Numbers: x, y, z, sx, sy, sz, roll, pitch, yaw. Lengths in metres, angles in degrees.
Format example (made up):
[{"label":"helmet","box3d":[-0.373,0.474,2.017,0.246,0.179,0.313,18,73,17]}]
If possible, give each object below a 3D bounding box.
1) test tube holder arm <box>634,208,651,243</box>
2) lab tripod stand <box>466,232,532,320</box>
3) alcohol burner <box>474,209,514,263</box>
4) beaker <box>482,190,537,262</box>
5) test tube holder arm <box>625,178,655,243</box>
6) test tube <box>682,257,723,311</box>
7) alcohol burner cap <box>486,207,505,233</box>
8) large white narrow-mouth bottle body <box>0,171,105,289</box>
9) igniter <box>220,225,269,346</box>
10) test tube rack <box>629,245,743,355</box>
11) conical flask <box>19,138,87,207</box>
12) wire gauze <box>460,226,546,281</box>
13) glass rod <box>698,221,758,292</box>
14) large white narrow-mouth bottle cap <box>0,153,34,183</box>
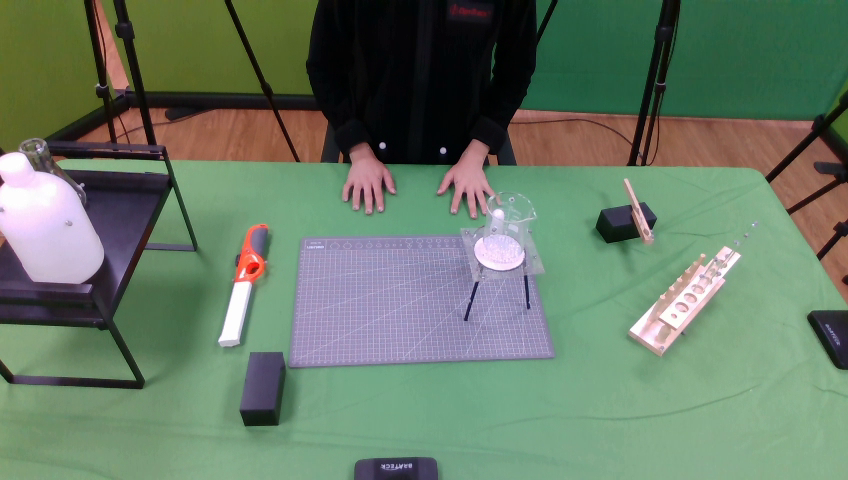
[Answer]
[{"label":"test tube holder arm","box3d":[0.428,-0.030,1.189,0.010,0.015,0.087,1,47,-2]},{"label":"lab tripod stand","box3d":[0.125,0.059,1.065,0.148,0.132,0.147,1,45,0]},{"label":"alcohol burner","box3d":[0.134,-0.013,1.150,0.078,0.120,0.077,0,47,0]},{"label":"beaker","box3d":[0.136,-0.019,0.983,0.084,0.101,0.073,17,47,14]},{"label":"test tube holder arm","box3d":[0.433,-0.062,1.220,0.013,0.015,0.177,1,47,-3]},{"label":"test tube","box3d":[0.475,0.080,1.037,0.017,0.151,0.017,1,50,-1]},{"label":"alcohol burner cap","box3d":[0.135,-0.039,1.125,0.034,0.048,0.033,5,41,-4]},{"label":"large white narrow-mouth bottle body","box3d":[-0.513,-0.029,0.818,0.102,0.195,0.101,2,46,-2]},{"label":"igniter","box3d":[-0.323,0.072,1.101,0.057,0.025,0.275,-6,46,5]},{"label":"test tube rack","box3d":[0.474,0.095,1.091,0.242,0.085,0.066,-34,56,-31]},{"label":"conical flask","box3d":[-0.576,-0.097,0.930,0.075,0.122,0.075,2,46,-2]},{"label":"wire gauze","box3d":[0.130,0.017,1.016,0.121,0.011,0.124,-4,43,-9]},{"label":"glass rod","box3d":[0.527,0.035,1.060,0.008,0.200,0.008,5,49,-6]},{"label":"large white narrow-mouth bottle cap","box3d":[-0.510,-0.090,0.755,0.038,0.024,0.037,2,46,-2]}]
